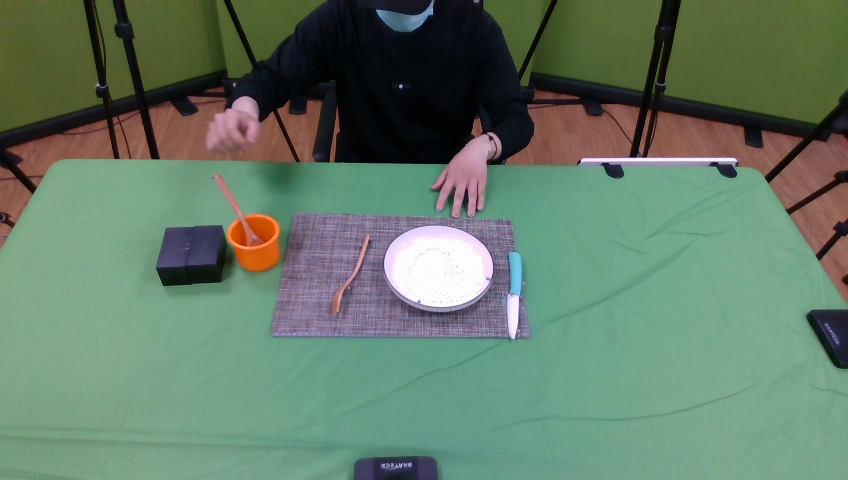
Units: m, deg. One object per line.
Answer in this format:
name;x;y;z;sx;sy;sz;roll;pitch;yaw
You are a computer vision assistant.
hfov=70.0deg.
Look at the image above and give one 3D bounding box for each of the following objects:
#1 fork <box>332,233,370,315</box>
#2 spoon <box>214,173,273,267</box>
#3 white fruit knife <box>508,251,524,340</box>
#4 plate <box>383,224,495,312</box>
fork;-0.133;0.058;1.127;0.019;0.028;0.206;36;43;-13
spoon;-0.335;-0.037;1.121;0.041;0.194;0.021;-29;10;-22
white fruit knife;0.169;0.098;1.113;0.027;0.016;0.206;-13;43;23
plate;0.026;0.055;1.128;0.209;0.038;0.208;2;46;-2
